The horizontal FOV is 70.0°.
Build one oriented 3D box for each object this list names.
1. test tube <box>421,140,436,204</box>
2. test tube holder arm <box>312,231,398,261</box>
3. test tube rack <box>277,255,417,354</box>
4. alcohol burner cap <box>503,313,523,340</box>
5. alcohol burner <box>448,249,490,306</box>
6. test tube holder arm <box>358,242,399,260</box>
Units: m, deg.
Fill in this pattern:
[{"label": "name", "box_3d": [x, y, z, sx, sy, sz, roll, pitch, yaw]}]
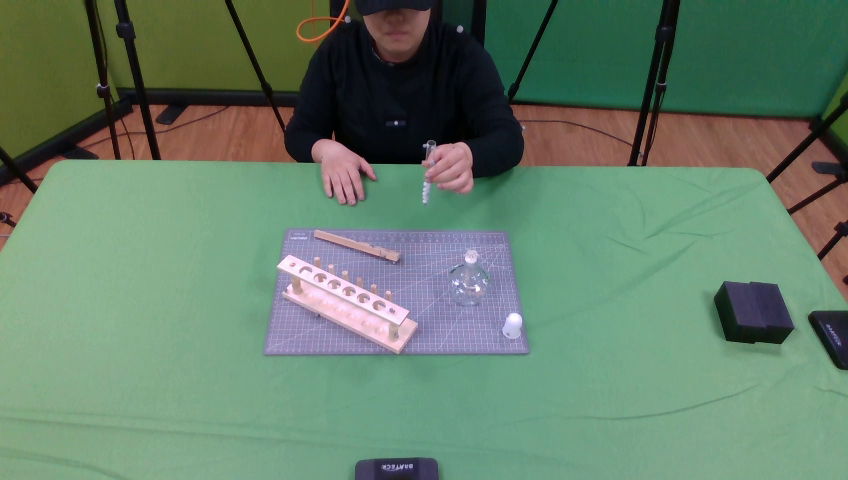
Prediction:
[{"label": "test tube", "box_3d": [0.007, -0.118, 1.078, 0.017, 0.151, 0.017, 3, 51, -3]}, {"label": "test tube holder arm", "box_3d": [-0.135, 0.011, 1.175, 0.178, 0.015, 0.013, 15, 13, 11]}, {"label": "test tube rack", "box_3d": [-0.132, 0.099, 1.045, 0.241, 0.085, 0.066, 23, 49, 17]}, {"label": "alcohol burner cap", "box_3d": [0.155, 0.147, 1.051, 0.034, 0.048, 0.033, 1, 45, -1]}, {"label": "alcohol burner", "box_3d": [0.081, 0.062, 1.078, 0.078, 0.120, 0.077, 1, 45, -1]}, {"label": "test tube holder arm", "box_3d": [-0.090, 0.021, 1.172, 0.087, 0.015, 0.010, 15, 13, 11]}]
